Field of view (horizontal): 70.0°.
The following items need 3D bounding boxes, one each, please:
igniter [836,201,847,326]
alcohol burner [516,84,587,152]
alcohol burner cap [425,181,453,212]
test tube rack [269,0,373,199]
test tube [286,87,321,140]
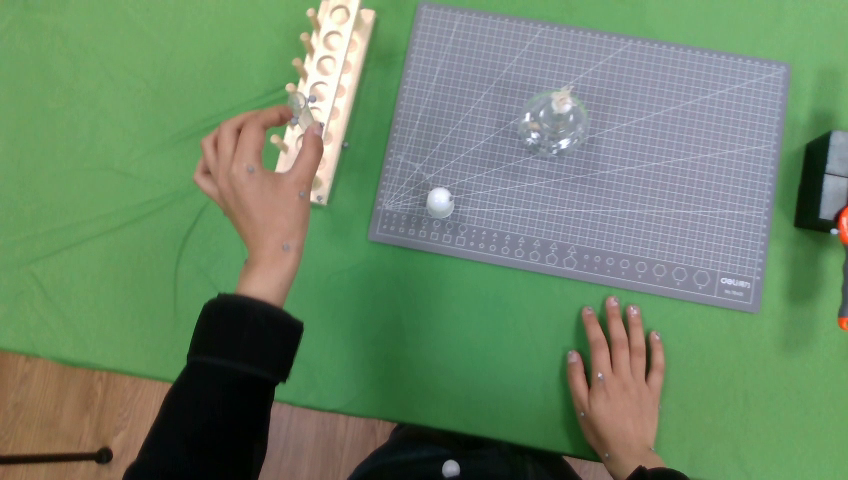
[{"bbox_3d":[0.467,-0.045,0.633,0.057,0.025,0.275,9,83,15],"label":"igniter"},{"bbox_3d":[0.141,-0.138,0.657,0.078,0.119,0.077,0,84,3],"label":"alcohol burner"},{"bbox_3d":[0.016,-0.051,0.687,0.034,0.048,0.034,0,83,2],"label":"alcohol burner cap"},{"bbox_3d":[-0.123,-0.177,0.688,0.067,0.085,0.241,13,84,4],"label":"test tube rack"},{"bbox_3d":[-0.106,-0.111,0.545,0.017,0.150,0.017,0,89,-4],"label":"test tube"}]
